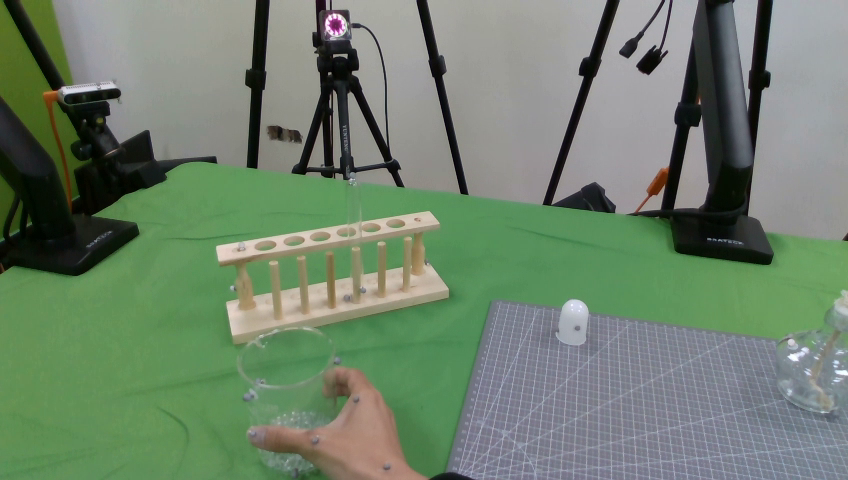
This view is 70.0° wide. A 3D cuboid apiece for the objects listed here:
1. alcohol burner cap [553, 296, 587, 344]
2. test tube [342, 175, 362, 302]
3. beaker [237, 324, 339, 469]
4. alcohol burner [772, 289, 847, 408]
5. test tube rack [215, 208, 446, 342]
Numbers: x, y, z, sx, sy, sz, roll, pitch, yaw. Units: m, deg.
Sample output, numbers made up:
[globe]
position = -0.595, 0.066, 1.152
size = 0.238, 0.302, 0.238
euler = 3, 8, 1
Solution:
[alcohol burner cap]
position = 0.154, 0.081, 0.635
size = 0.034, 0.048, 0.033
euler = 0, 30, 0
[test tube]
position = -0.075, 0.002, 0.642
size = 0.017, 0.151, 0.017
euler = 1, 31, 0
[beaker]
position = -0.109, 0.129, 0.495
size = 0.083, 0.101, 0.074
euler = 25, 38, 37
[alcohol burner]
position = 0.364, 0.093, 0.547
size = 0.078, 0.120, 0.077
euler = 2, 31, -1
[test tube rack]
position = -0.098, 0.035, 0.674
size = 0.243, 0.086, 0.066
euler = -11, 32, -19
